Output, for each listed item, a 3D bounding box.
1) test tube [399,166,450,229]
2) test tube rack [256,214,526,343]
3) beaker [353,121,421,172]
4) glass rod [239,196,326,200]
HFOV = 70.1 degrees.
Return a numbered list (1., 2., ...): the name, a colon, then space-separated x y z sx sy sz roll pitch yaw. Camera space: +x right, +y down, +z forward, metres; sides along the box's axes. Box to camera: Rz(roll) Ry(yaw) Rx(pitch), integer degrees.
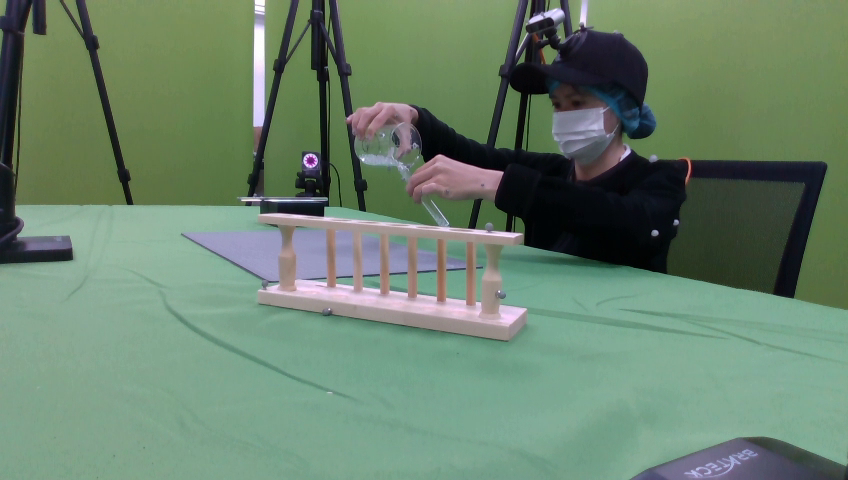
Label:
1. test tube: 0.000 -0.066 0.964 0.017 0.017 0.149 -4 46 -40
2. test tube rack: -0.032 0.027 0.547 0.241 0.085 0.067 6 7 22
3. beaker: -0.065 -0.160 1.031 0.100 0.084 0.074 9 5 44
4. glass rod: -0.288 -0.087 1.250 0.201 0.008 0.008 -4 10 -42
